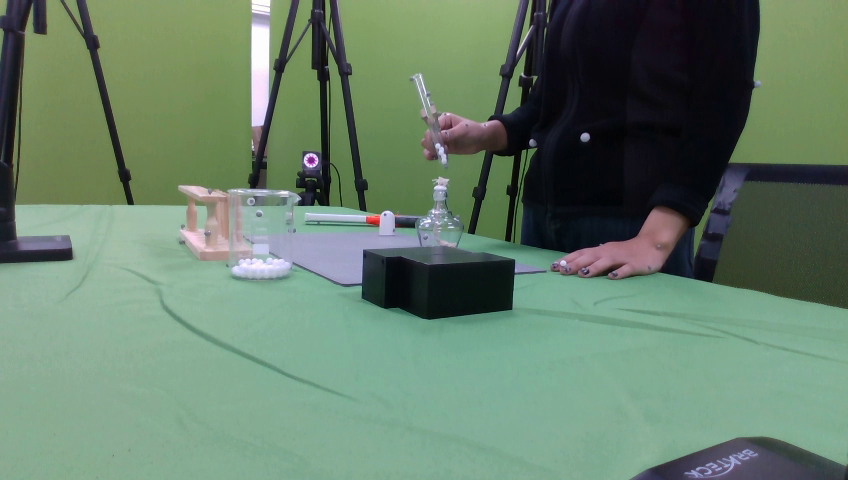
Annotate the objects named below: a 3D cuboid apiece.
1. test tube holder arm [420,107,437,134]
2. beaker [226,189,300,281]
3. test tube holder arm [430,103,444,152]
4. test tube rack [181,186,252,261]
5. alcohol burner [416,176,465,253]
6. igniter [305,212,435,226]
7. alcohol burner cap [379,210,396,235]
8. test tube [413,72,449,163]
[{"bbox_3d":[0.010,-0.188,0.960,0.010,0.015,0.088,-20,-13,11],"label":"test tube holder arm"},{"bbox_3d":[-0.184,-0.007,0.694,0.084,0.100,0.073,-1,8,-29],"label":"beaker"},{"bbox_3d":[0.022,-0.182,1.003,0.013,0.015,0.178,-18,-13,3],"label":"test tube holder arm"},{"bbox_3d":[-0.312,-0.031,0.893,0.067,0.085,0.241,-1,8,-27],"label":"test tube rack"},{"bbox_3d":[0.025,-0.040,0.935,0.078,0.119,0.078,1,6,0],"label":"alcohol burner"},{"bbox_3d":[-0.114,-0.046,1.296,0.277,0.025,0.057,1,-2,-11],"label":"igniter"},{"bbox_3d":[-0.067,-0.033,1.129,0.034,0.048,0.034,1,7,0],"label":"alcohol burner cap"},{"bbox_3d":[0.011,-0.190,0.936,0.017,0.150,0.017,-17,-8,-2],"label":"test tube"}]
